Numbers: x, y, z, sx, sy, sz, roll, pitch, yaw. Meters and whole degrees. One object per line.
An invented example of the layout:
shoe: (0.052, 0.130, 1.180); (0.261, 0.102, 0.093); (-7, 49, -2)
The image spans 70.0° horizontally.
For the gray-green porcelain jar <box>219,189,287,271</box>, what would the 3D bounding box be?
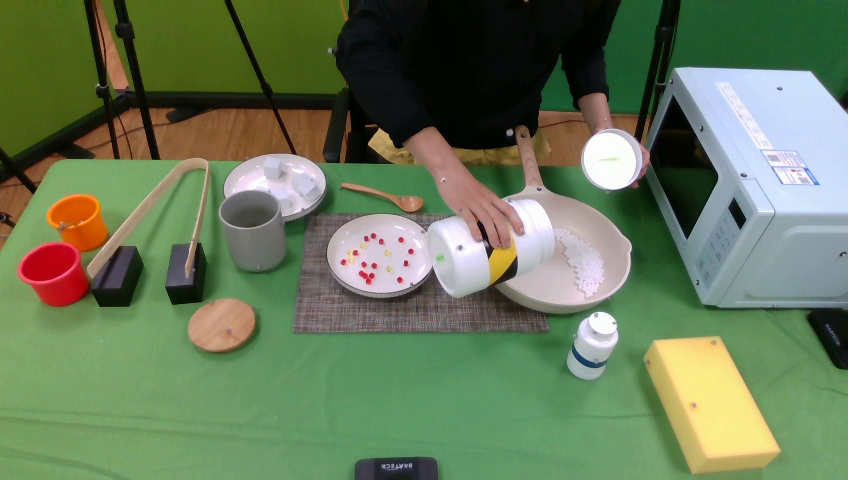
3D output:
gray-green porcelain jar: (-0.310, -0.014, 1.113); (0.106, 0.127, 0.105); (2, 46, -2)

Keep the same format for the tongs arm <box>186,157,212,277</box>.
tongs arm: (-0.445, -0.058, 1.168); (0.051, 0.026, 0.382); (-4, 37, -6)

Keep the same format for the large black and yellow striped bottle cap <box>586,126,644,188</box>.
large black and yellow striped bottle cap: (0.358, -0.155, 1.135); (0.115, 0.019, 0.115); (0, 91, -15)

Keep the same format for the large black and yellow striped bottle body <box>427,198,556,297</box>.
large black and yellow striped bottle body: (0.111, 0.007, 1.000); (0.184, 0.131, 0.130); (-18, 50, -15)

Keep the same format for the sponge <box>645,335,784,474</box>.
sponge: (0.449, 0.253, 0.956); (0.118, 0.061, 0.205); (-4, 46, -7)

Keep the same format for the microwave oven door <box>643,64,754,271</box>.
microwave oven door: (0.525, -0.148, 1.193); (0.039, 0.245, 0.353); (-1, 47, -2)

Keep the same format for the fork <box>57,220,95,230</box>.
fork: (-0.624, -0.027, 1.087); (0.028, 0.207, 0.018); (-3, 92, -17)

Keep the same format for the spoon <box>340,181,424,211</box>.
spoon: (-0.090, -0.100, 1.282); (0.193, 0.022, 0.041); (18, 64, 13)

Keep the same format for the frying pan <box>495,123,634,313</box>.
frying pan: (0.235, -0.060, 1.207); (0.307, 0.103, 0.484); (2, 55, -5)

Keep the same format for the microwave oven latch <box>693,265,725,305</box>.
microwave oven latch: (0.523, 0.082, 1.116); (0.030, 0.029, 0.078); (2, 46, -1)

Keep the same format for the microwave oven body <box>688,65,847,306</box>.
microwave oven body: (0.669, -0.111, 1.176); (0.326, 0.261, 0.439); (0, 46, -3)

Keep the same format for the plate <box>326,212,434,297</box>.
plate: (-0.080, 0.030, 1.143); (0.209, 0.038, 0.208); (2, 46, -2)

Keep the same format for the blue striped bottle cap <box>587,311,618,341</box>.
blue striped bottle cap: (0.279, 0.134, 0.946); (0.044, 0.021, 0.044); (2, 45, -2)

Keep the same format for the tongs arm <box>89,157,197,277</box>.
tongs arm: (-0.530, -0.058, 1.163); (0.028, 0.028, 0.385); (1, 36, 7)

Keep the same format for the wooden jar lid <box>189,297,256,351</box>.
wooden jar lid: (-0.342, 0.145, 1.033); (0.108, 0.021, 0.107); (3, 45, -2)

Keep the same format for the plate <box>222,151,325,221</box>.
plate: (-0.310, -0.106, 1.263); (0.208, 0.039, 0.206); (2, 47, -2)

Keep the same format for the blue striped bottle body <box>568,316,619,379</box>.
blue striped bottle body: (0.276, 0.168, 0.984); (0.063, 0.121, 0.062); (2, 46, -2)
